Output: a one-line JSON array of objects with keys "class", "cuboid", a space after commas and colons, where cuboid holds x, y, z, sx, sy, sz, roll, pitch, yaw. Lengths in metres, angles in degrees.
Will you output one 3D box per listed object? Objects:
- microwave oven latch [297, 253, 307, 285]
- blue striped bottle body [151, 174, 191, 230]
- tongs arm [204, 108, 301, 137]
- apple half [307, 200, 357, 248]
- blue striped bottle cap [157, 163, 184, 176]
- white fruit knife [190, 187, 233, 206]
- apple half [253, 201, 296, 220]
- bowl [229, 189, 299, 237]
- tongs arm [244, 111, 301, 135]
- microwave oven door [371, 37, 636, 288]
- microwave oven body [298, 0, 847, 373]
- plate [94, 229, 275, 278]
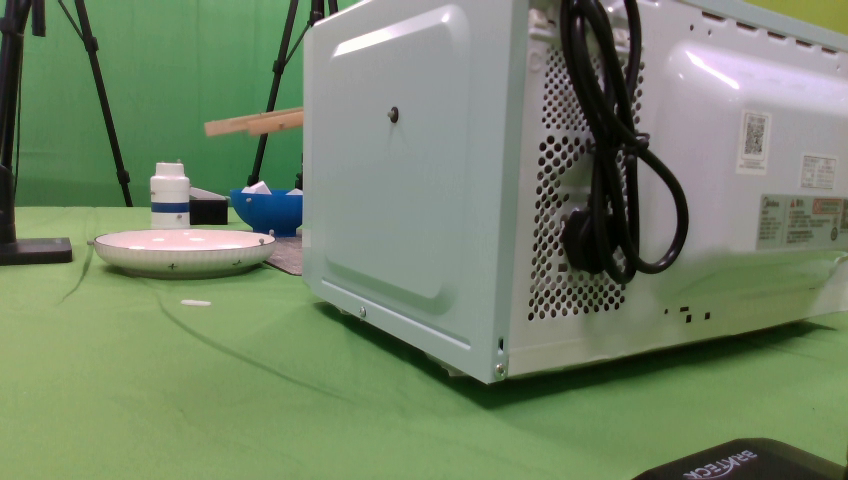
[{"class": "microwave oven latch", "cuboid": [-0.082, 0.027, 0.582, 0.079, 0.029, 0.030, -1, 8, -32]}, {"class": "blue striped bottle body", "cuboid": [-0.439, -0.071, 1.052, 0.063, 0.120, 0.063, 2, 7, 0]}, {"class": "tongs arm", "cuboid": [-0.252, -0.255, 1.229, 0.387, 0.026, 0.050, -21, 19, -40]}, {"class": "apple half", "cuboid": [-0.136, -0.024, 0.942, 0.053, 0.074, 0.081, 15, 10, 38]}, {"class": "blue striped bottle cap", "cuboid": [-0.438, -0.122, 1.045, 0.044, 0.020, 0.044, 4, 6, 0]}, {"class": "white fruit knife", "cuboid": [-0.413, -0.081, 1.270, 0.208, 0.027, 0.016, 17, 13, -41]}, {"class": "apple half", "cuboid": [-0.264, -0.053, 1.066, 0.081, 0.033, 0.081, 1, 8, 0]}, {"class": "bowl", "cuboid": [-0.264, -0.048, 1.065, 0.151, 0.077, 0.151, 2, 7, 0]}, {"class": "tongs arm", "cuboid": [-0.195, -0.248, 1.177, 0.028, 0.028, 0.389, -3, 16, 37]}, {"class": "microwave oven door", "cuboid": [0.109, -0.080, 0.686, 0.358, 0.243, 0.039, -2, 9, -33]}, {"class": "microwave oven body", "cuboid": [0.151, -0.055, 0.543, 0.444, 0.260, 0.324, -1, 8, -33]}, {"class": "plate", "cuboid": [-0.291, 0.016, 0.750, 0.208, 0.039, 0.207, 2, 7, 0]}]
